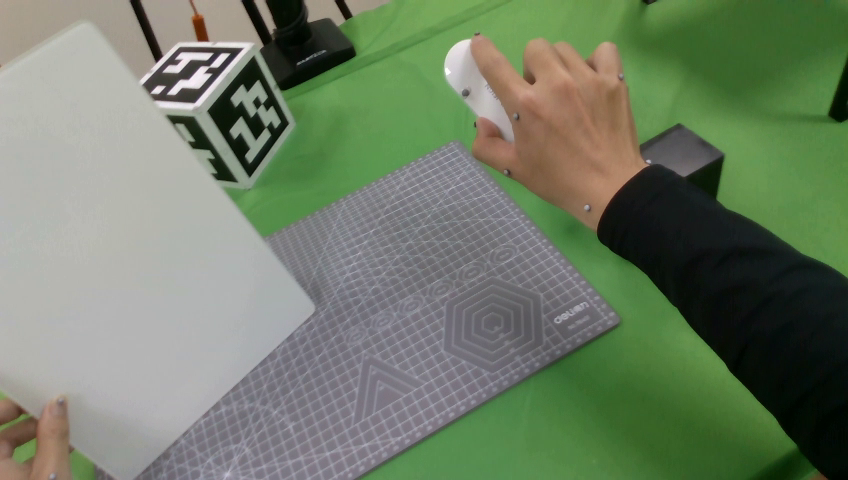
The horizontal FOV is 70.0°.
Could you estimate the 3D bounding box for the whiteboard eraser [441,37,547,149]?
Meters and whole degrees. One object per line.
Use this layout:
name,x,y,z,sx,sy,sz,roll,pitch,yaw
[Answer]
whiteboard eraser,0.054,-0.114,0.473,0.041,0.101,0.018,-44,10,6

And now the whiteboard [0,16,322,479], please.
whiteboard,-0.277,0.010,0.518,0.217,0.308,0.142,-44,33,-19
